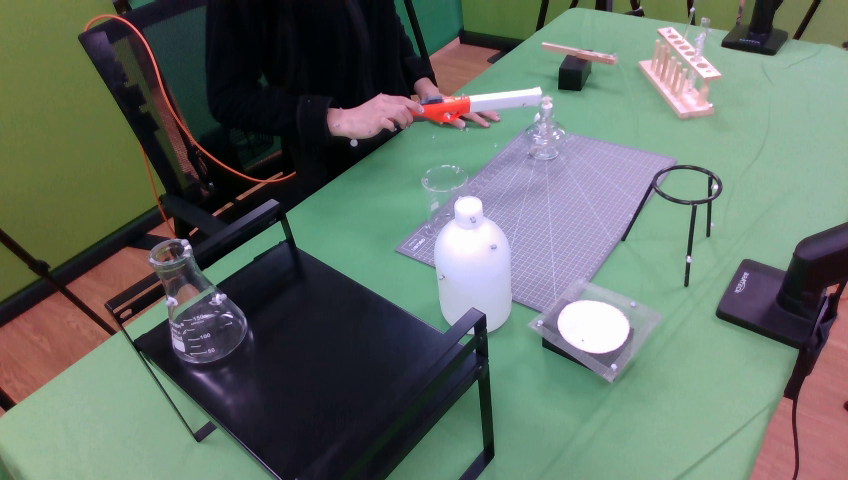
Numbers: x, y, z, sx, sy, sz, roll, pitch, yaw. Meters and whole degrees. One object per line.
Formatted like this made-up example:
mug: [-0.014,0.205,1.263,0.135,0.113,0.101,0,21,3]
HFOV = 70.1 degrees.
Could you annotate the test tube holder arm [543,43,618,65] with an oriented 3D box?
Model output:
test tube holder arm: [0.344,-0.413,1.340,0.177,0.015,0.013,25,50,31]

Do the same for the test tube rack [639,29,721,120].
test tube rack: [0.527,-0.351,1.262,0.067,0.085,0.241,-8,40,1]

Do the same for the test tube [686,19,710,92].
test tube: [0.540,-0.360,1.193,0.017,0.151,0.017,-4,43,4]

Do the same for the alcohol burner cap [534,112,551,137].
alcohol burner cap: [0.235,-0.231,1.197,0.034,0.048,0.033,-5,39,4]

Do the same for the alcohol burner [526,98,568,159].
alcohol burner: [0.228,-0.210,1.118,0.078,0.119,0.077,-5,43,5]

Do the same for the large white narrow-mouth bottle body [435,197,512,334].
large white narrow-mouth bottle body: [0.066,0.028,0.805,0.102,0.195,0.101,-4,40,4]

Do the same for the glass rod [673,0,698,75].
glass rod: [0.538,-0.425,1.244,0.008,0.200,0.008,0,47,1]

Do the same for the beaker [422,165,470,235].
beaker: [0.041,-0.063,0.986,0.073,0.101,0.084,20,47,29]

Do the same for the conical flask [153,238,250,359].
conical flask: [-0.225,0.055,0.597,0.075,0.122,0.075,-5,41,4]

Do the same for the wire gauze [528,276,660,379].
wire gauze: [0.213,0.103,0.763,0.124,0.011,0.122,30,52,35]

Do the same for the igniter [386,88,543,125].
igniter: [0.070,-0.233,1.053,0.277,0.057,0.025,-9,55,-7]

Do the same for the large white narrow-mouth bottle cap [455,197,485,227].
large white narrow-mouth bottle cap: [0.057,-0.035,0.750,0.038,0.024,0.037,-4,40,4]

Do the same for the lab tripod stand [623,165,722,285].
lab tripod stand: [0.365,-0.030,0.874,0.148,0.132,0.147,-6,41,6]

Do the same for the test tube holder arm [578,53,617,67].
test tube holder arm: [0.376,-0.393,1.314,0.087,0.015,0.010,26,51,32]
